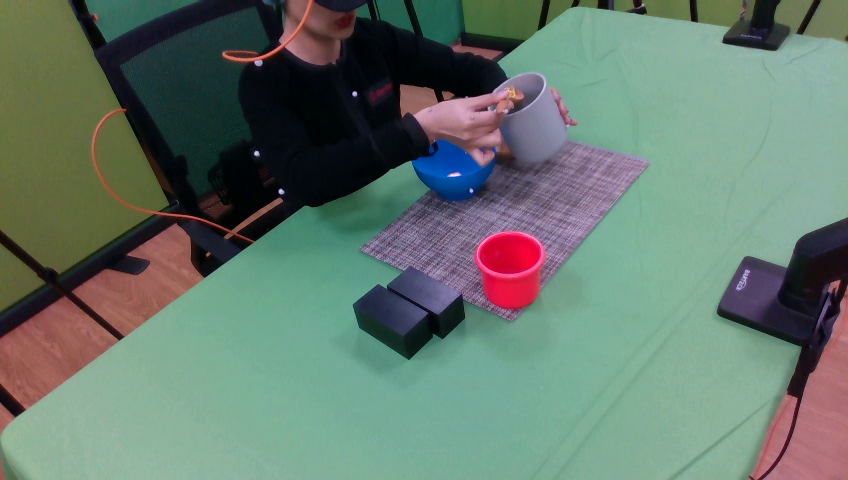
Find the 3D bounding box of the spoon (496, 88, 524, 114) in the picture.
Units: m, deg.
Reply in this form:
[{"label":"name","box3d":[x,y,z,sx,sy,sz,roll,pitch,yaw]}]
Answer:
[{"label":"spoon","box3d":[0.130,-0.220,0.952,0.041,0.021,0.194,12,21,11]}]

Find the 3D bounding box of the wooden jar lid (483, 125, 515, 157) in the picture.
[{"label":"wooden jar lid","box3d":[0.165,-0.194,1.177,0.108,0.021,0.108,-4,40,4]}]

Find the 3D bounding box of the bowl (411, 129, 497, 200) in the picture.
[{"label":"bowl","box3d":[0.056,-0.124,1.069,0.151,0.077,0.150,-5,40,5]}]

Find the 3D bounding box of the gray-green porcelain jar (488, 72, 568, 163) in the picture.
[{"label":"gray-green porcelain jar","box3d":[0.182,-0.204,1.036,0.105,0.127,0.105,-21,43,21]}]
